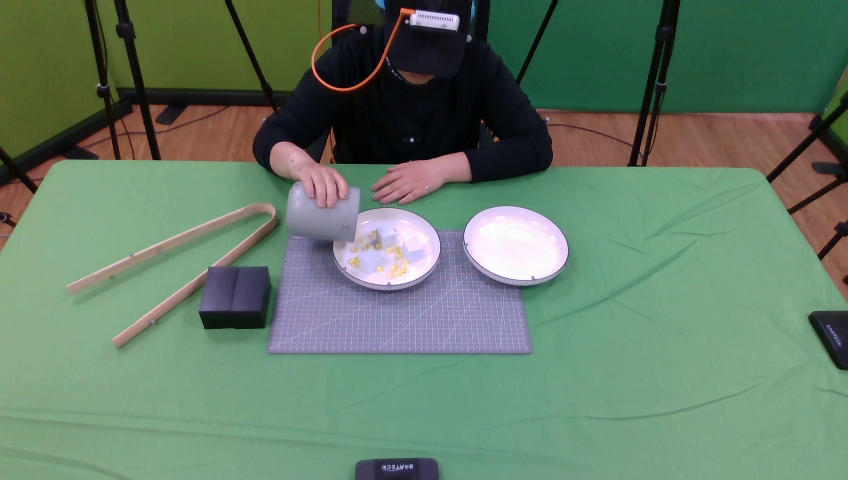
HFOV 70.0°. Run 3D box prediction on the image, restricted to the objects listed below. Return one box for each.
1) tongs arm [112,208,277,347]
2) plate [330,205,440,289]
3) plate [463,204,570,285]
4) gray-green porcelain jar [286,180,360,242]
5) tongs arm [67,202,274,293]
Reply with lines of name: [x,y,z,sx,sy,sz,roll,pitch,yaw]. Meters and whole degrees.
tongs arm: [-0.400,0.058,1.108,0.028,0.028,0.387,26,49,23]
plate: [-0.074,0.018,1.160,0.208,0.039,0.206,2,46,-2]
plate: [0.178,0.012,1.184,0.209,0.038,0.208,3,46,-3]
gray-green porcelain jar: [-0.187,-0.055,1.120,0.127,0.106,0.105,7,46,-8]
tongs arm: [-0.461,0.013,1.142,0.385,0.026,0.050,-31,56,-31]
